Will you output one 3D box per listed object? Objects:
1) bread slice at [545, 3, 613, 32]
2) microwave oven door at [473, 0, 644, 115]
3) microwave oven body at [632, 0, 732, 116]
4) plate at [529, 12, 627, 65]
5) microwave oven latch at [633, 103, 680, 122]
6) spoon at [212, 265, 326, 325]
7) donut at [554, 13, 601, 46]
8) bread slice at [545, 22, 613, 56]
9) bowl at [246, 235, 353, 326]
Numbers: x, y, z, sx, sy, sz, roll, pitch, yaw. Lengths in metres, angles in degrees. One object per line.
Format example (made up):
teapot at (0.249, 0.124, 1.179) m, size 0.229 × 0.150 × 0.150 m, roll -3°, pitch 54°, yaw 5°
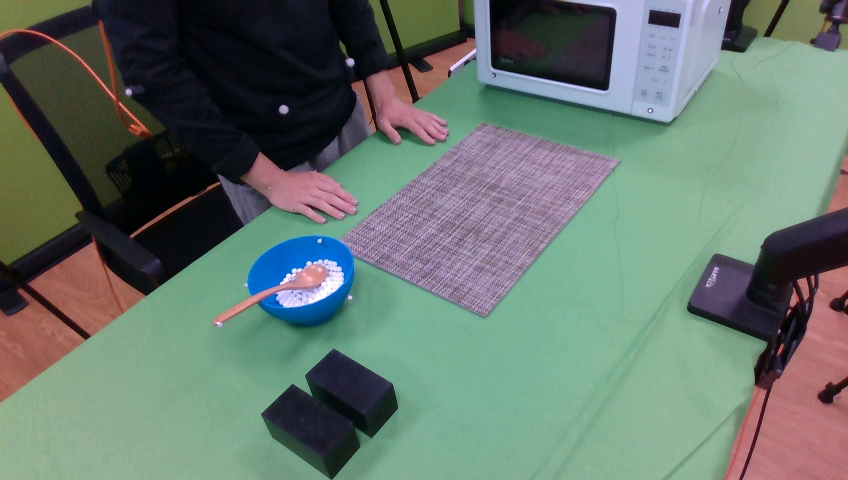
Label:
bread slice at (0.331, -0.475, 1.281) m, size 0.131 × 0.019 × 0.104 m, roll -10°, pitch 37°, yaw 1°
microwave oven door at (0.257, -0.396, 1.199) m, size 0.353 × 0.245 × 0.039 m, roll 21°, pitch 48°, yaw 29°
microwave oven body at (0.377, -0.462, 1.267) m, size 0.438 × 0.261 × 0.327 m, roll 21°, pitch 48°, yaw 30°
plate at (0.333, -0.434, 1.317) m, size 0.207 × 0.039 × 0.206 m, roll -5°, pitch 44°, yaw 5°
microwave oven latch at (0.444, -0.249, 1.157) m, size 0.078 × 0.029 × 0.030 m, roll 21°, pitch 48°, yaw 30°
spoon at (-0.208, 0.072, 0.822) m, size 0.041 × 0.021 × 0.195 m, roll 27°, pitch 29°, yaw 27°
donut at (0.328, -0.452, 1.296) m, size 0.099 × 0.048 × 0.098 m, roll -5°, pitch 46°, yaw 6°
bread slice at (0.340, -0.439, 1.314) m, size 0.134 × 0.018 × 0.106 m, roll -11°, pitch 50°, yaw -8°
bowl at (-0.170, 0.070, 0.868) m, size 0.151 × 0.077 × 0.150 m, roll -4°, pitch 41°, yaw 4°
